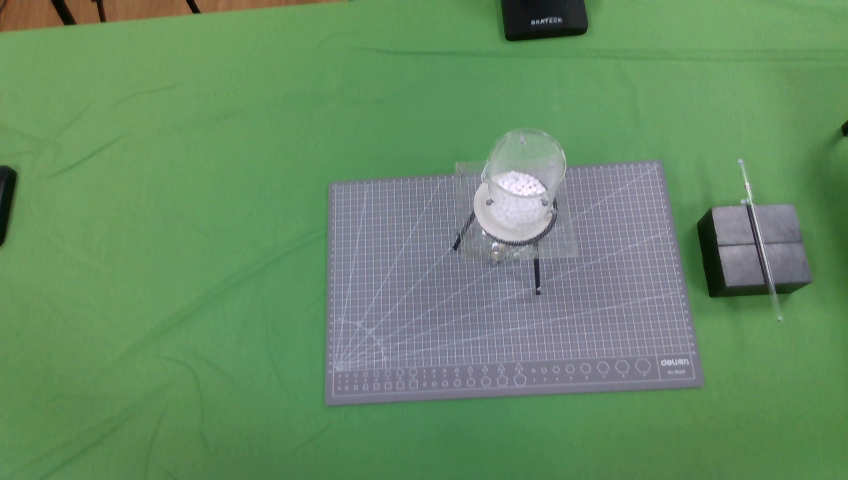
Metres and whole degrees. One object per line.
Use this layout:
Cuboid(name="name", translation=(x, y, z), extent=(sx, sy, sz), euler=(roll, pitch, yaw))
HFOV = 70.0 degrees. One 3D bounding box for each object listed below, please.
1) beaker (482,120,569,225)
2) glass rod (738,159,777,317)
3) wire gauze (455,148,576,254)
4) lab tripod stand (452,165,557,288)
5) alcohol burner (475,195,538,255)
Cuboid(name="beaker", translation=(0.097, -0.062, 0.613), extent=(0.084, 0.101, 0.073), euler=(-18, 70, -3))
Cuboid(name="glass rod", translation=(0.394, -0.006, 0.717), extent=(0.008, 0.008, 0.198), euler=(-3, 71, 2))
Cuboid(name="wire gauze", translation=(0.098, -0.042, 0.657), extent=(0.125, 0.011, 0.120), euler=(-1, 72, 0))
Cuboid(name="lab tripod stand", translation=(0.105, -0.024, 0.721), extent=(0.148, 0.132, 0.147), euler=(-1, 69, 4))
Cuboid(name="alcohol burner", translation=(0.101, -0.024, 0.731), extent=(0.078, 0.120, 0.077), euler=(-1, 72, 2))
